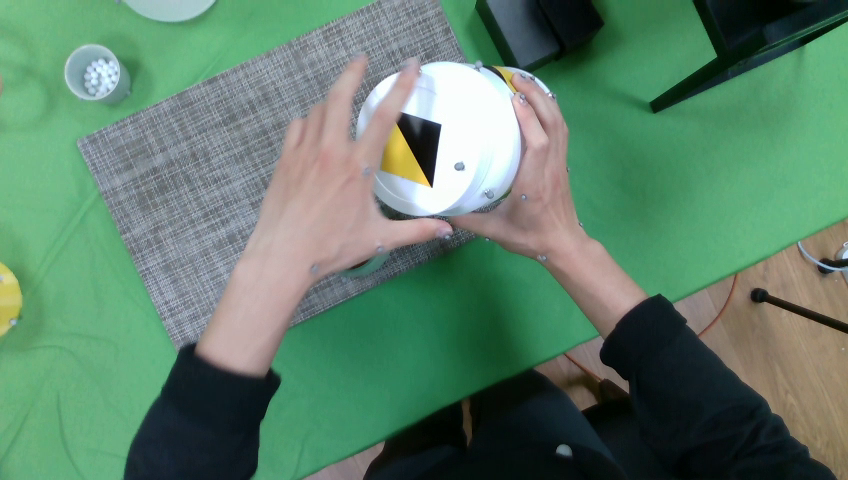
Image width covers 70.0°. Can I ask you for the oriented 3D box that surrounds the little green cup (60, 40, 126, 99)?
[{"bbox_3d":[-0.372,-0.190,0.687,0.061,0.038,0.061,0,91,-3],"label":"little green cup"}]

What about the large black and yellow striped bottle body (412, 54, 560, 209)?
[{"bbox_3d":[0.036,-0.100,0.554,0.130,0.184,0.131,8,107,28],"label":"large black and yellow striped bottle body"}]

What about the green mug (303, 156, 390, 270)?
[{"bbox_3d":[-0.087,-0.029,0.661,0.092,0.105,0.125,-9,90,-2],"label":"green mug"}]

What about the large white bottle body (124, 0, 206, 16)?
[{"bbox_3d":[-0.298,-0.323,0.616,0.131,0.184,0.130,0,90,-1],"label":"large white bottle body"}]

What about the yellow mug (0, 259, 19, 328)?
[{"bbox_3d":[-0.519,0.077,0.667,0.100,0.064,0.131,7,91,-3],"label":"yellow mug"}]

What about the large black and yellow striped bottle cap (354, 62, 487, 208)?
[{"bbox_3d":[-0.005,-0.082,0.481,0.114,0.019,0.115,9,108,29],"label":"large black and yellow striped bottle cap"}]
